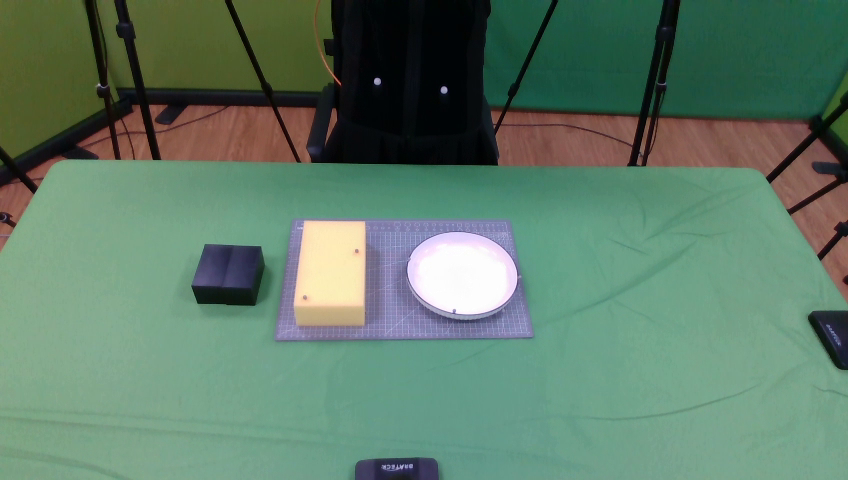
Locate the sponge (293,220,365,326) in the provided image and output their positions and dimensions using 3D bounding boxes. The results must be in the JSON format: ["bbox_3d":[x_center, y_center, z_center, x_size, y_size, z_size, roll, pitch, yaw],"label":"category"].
[{"bbox_3d":[-0.167,0.056,1.101,0.118,0.061,0.205,-1,47,-4],"label":"sponge"}]

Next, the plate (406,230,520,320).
[{"bbox_3d":[0.070,0.067,1.122,0.209,0.038,0.208,2,46,-2],"label":"plate"}]
